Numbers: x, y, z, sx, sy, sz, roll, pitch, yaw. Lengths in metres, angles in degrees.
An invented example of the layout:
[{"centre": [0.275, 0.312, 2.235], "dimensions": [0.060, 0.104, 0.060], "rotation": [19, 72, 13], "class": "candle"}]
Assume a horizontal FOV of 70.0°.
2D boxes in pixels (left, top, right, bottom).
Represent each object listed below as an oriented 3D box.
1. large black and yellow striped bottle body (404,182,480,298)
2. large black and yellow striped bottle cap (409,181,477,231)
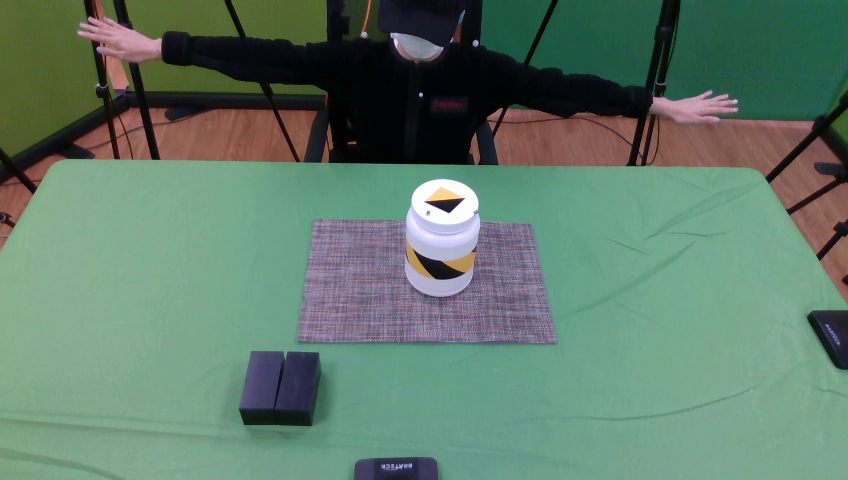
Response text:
[{"centre": [0.030, -0.001, 1.083], "dimensions": [0.131, 0.185, 0.130], "rotation": [2, 46, -2], "class": "large black and yellow striped bottle body"}, {"centre": [0.033, -0.059, 1.023], "dimensions": [0.115, 0.019, 0.114], "rotation": [3, 44, -2], "class": "large black and yellow striped bottle cap"}]
